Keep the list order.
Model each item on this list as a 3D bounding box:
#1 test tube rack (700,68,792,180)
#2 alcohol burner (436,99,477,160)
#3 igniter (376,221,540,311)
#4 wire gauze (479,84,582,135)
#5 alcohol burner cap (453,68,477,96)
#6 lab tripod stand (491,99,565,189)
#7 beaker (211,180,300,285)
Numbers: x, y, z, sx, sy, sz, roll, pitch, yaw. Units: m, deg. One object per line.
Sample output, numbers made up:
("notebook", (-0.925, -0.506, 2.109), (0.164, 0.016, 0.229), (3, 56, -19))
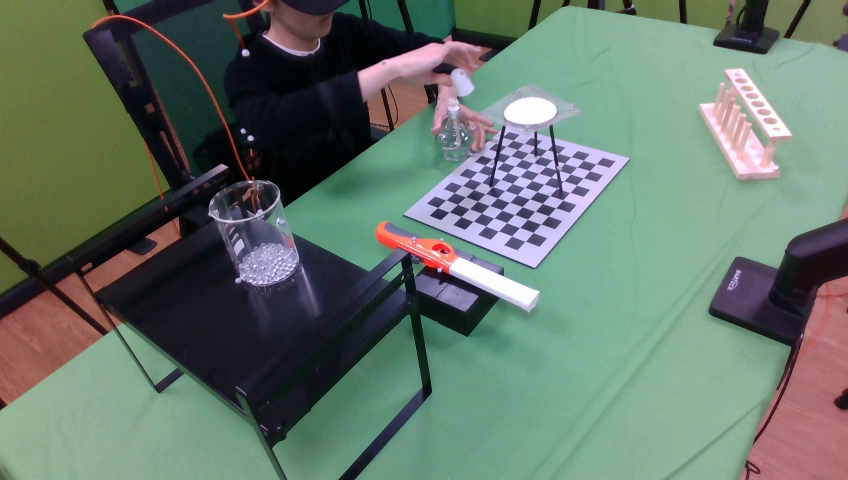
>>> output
("test tube rack", (0.572, -0.215, 1.089), (0.066, 0.085, 0.241), (-3, 41, 7))
("alcohol burner", (0.061, -0.212, 1.143), (0.078, 0.119, 0.077), (-3, 41, 3))
("igniter", (0.037, 0.031, 0.858), (0.274, 0.025, 0.057), (24, 46, 29))
("wire gauze", (0.176, -0.216, 1.006), (0.125, 0.011, 0.120), (-29, 46, -22))
("alcohol burner cap", (0.070, -0.280, 1.062), (0.034, 0.048, 0.033), (-19, 42, 19))
("lab tripod stand", (0.184, -0.163, 1.046), (0.148, 0.132, 0.147), (-5, 42, 5))
("beaker", (-0.183, -0.007, 0.674), (0.074, 0.101, 0.083), (-1, 40, 7))
